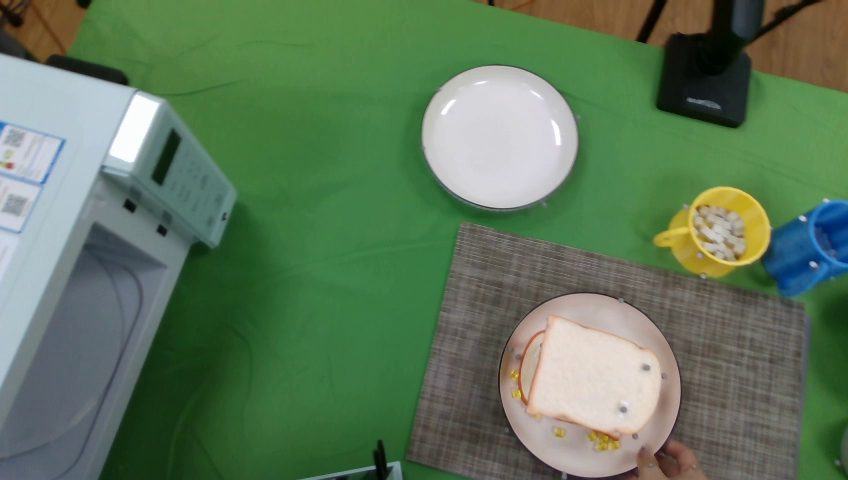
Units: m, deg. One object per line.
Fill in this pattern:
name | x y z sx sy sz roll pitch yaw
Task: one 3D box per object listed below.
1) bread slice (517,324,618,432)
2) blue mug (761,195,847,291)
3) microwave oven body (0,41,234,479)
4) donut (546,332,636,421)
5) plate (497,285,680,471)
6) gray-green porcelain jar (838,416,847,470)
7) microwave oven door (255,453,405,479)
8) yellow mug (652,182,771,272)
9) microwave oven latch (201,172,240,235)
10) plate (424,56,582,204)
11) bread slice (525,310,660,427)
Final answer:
bread slice | 0.175 0.156 0.707 0.131 0.019 0.104 15 79 4
blue mug | 0.471 0.014 0.736 0.082 0.106 0.116 34 77 8
microwave oven body | -0.446 0.050 0.620 0.326 0.261 0.440 16 76 3
donut | 0.186 0.152 0.677 0.099 0.048 0.098 0 77 1
plate | 0.188 0.157 0.705 0.209 0.038 0.208 0 78 1
gray-green porcelain jar | 0.539 0.233 0.667 0.106 0.127 0.105 0 75 -1
microwave oven door | -0.198 0.256 0.565 0.356 0.245 0.039 -9 74 -4
yellow mug | 0.354 -0.013 0.761 0.131 0.064 0.099 -6 74 -2
microwave oven latch | -0.255 -0.048 0.751 0.030 0.029 0.079 18 76 3
plate | 0.103 -0.143 0.804 0.208 0.039 0.206 0 75 -1
bread slice | 0.183 0.140 0.649 0.134 0.018 0.107 13 85 -1
